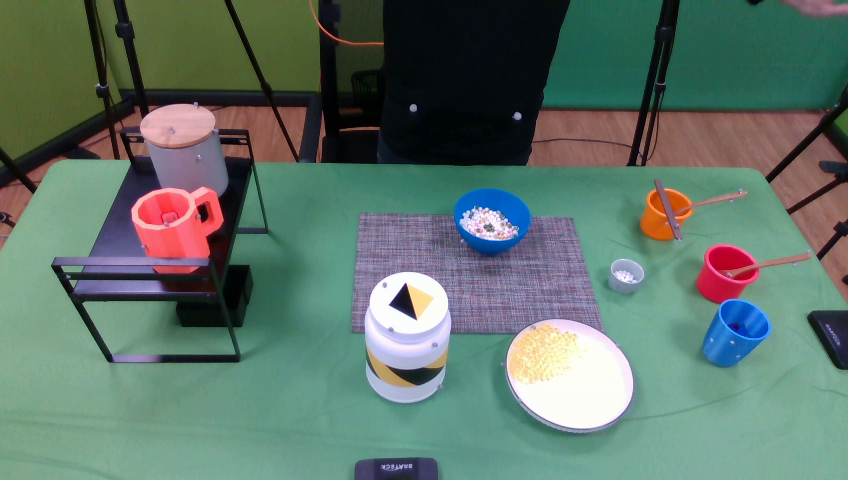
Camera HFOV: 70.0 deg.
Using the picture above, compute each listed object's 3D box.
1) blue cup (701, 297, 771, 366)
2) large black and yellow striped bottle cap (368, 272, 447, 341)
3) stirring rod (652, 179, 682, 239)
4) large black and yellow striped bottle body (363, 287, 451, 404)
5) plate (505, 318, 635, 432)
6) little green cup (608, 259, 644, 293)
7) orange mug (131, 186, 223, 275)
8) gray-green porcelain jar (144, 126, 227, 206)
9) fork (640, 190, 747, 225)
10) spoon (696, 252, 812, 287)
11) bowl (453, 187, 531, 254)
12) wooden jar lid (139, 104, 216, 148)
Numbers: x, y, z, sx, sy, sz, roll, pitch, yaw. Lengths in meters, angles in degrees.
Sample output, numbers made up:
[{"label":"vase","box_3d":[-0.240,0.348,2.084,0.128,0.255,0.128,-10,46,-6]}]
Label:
[{"label":"blue cup","box_3d":[0.519,0.162,1.025,0.093,0.101,0.092,3,45,-3]},{"label":"large black and yellow striped bottle cap","box_3d":[-0.023,0.093,0.875,0.115,0.019,0.114,3,46,-3]},{"label":"stirring rod","box_3d":[0.481,-0.065,1.204,0.014,0.006,0.175,1,46,0]},{"label":"large black and yellow striped bottle body","box_3d":[-0.027,0.153,0.935,0.131,0.185,0.130,2,46,-2]},{"label":"plate","box_3d":[0.235,0.221,0.991,0.209,0.038,0.208,2,46,-2]},{"label":"little green cup","box_3d":[0.379,0.070,1.147,0.061,0.039,0.061,3,45,-2]},{"label":"orange mug","box_3d":[-0.355,-0.023,0.888,0.083,0.101,0.126,31,56,24]},{"label":"gray-green porcelain jar","box_3d":[-0.375,-0.126,0.967,0.106,0.127,0.105,2,46,-2]},{"label":"fork","box_3d":[0.533,-0.065,1.211,0.207,0.019,0.028,-22,28,39]},{"label":"spoon","box_3d":[0.600,0.051,1.110,0.193,0.022,0.041,-22,33,38]},{"label":"bowl","box_3d":[0.128,-0.025,1.187,0.151,0.077,0.150,2,46,-2]},{"label":"wooden jar lid","box_3d":[-0.372,-0.169,0.920,0.108,0.021,0.107,4,44,-4]}]
